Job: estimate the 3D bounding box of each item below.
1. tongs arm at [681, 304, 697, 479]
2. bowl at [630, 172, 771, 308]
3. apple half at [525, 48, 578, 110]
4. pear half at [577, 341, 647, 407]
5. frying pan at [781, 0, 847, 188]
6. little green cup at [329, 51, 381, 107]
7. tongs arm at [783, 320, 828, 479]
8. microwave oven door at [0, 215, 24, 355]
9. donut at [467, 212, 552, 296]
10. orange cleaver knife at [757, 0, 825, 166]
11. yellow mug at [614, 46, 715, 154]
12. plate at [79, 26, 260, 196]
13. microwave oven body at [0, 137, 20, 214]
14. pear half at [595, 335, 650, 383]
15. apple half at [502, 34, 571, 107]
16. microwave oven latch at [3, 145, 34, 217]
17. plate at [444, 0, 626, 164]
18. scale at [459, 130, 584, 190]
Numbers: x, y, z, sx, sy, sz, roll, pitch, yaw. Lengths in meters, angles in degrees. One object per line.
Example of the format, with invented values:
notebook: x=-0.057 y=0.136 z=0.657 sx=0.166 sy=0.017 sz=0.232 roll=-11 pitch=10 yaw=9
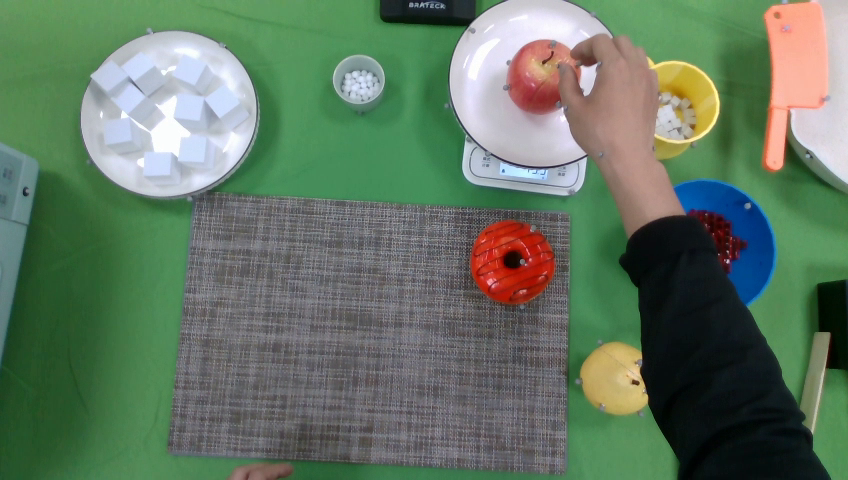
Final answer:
tongs arm: x=0.318 y=0.264 z=0.680 sx=0.051 sy=0.026 sz=0.383 roll=2 pitch=84 yaw=-4
bowl: x=0.302 y=0.004 z=0.694 sx=0.151 sy=0.077 sz=0.151 roll=0 pitch=83 yaw=-1
apple half: x=0.148 y=-0.171 z=0.678 sx=0.032 sy=0.081 sz=0.081 roll=41 pitch=83 yaw=8
pear half: x=0.202 y=0.152 z=0.655 sx=0.076 sy=0.110 sz=0.056 roll=34 pitch=83 yaw=8
frying pan: x=0.596 y=-0.094 z=0.698 sx=0.307 sy=0.103 sz=0.485 roll=-24 pitch=75 yaw=-3
little green cup: x=-0.081 y=-0.193 z=0.734 sx=0.061 sy=0.039 sz=0.061 roll=0 pitch=81 yaw=0
tongs arm: x=0.404 y=0.276 z=0.683 sx=0.028 sy=0.028 sz=0.386 roll=18 pitch=84 yaw=-5
microwave oven door: x=-0.492 y=0.133 z=0.560 sx=0.039 sy=0.244 sz=0.354 roll=5 pitch=82 yaw=0
donut: x=0.098 y=0.017 z=0.701 sx=0.099 sy=0.048 sz=0.098 roll=0 pitch=83 yaw=2
orange cleaver knife: x=0.417 y=-0.185 z=0.690 sx=0.077 sy=0.012 sz=0.210 roll=8 pitch=83 yaw=3
yellow mug: x=0.275 y=-0.174 z=0.723 sx=0.100 sy=0.064 sz=0.130 roll=-30 pitch=83 yaw=-4
plate: x=-0.298 y=-0.151 z=0.724 sx=0.208 sy=0.039 sz=0.207 roll=0 pitch=82 yaw=-1
microwave oven body: x=-0.633 y=0.078 z=0.570 sx=0.326 sy=0.261 sz=0.440 roll=5 pitch=82 yaw=-1
pear half: x=0.224 y=0.125 z=0.669 sx=0.070 sy=0.088 sz=0.031 roll=33 pitch=83 yaw=7
apple half: x=0.119 y=-0.196 z=0.682 sx=0.053 sy=0.075 sz=0.081 roll=43 pitch=86 yaw=8
microwave oven latch: x=-0.470 y=-0.068 z=0.691 sx=0.030 sy=0.029 sz=0.079 roll=7 pitch=83 yaw=0
plate: x=0.127 y=-0.186 z=0.707 sx=0.209 sy=0.038 sz=0.208 roll=0 pitch=82 yaw=-2
scale: x=0.126 y=-0.167 z=0.737 sx=0.149 sy=0.031 sz=0.200 roll=7 pitch=82 yaw=0
